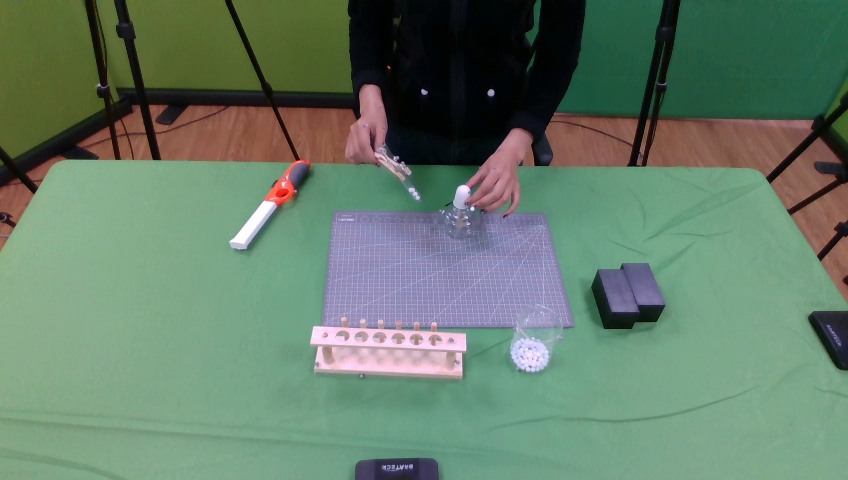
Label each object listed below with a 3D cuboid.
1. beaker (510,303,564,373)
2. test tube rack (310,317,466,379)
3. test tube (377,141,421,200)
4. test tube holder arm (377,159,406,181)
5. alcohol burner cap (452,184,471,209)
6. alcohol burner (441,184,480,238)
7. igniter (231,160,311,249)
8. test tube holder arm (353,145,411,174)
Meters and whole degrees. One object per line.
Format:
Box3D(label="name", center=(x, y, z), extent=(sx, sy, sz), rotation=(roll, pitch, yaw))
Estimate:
Box3D(label="beaker", center=(0.182, 0.164, 1.000), extent=(0.074, 0.101, 0.083), rotation=(2, 46, -1))
Box3D(label="test tube rack", center=(-0.056, 0.171, 0.987), extent=(0.242, 0.085, 0.066), rotation=(3, 45, -1))
Box3D(label="test tube", center=(-0.042, -0.120, 1.067), extent=(0.017, 0.151, 0.017), rotation=(-16, 49, 19))
Box3D(label="test tube holder arm", center=(-0.059, -0.128, 1.081), extent=(0.010, 0.015, 0.087), rotation=(-44, 41, -3))
Box3D(label="alcohol burner cap", center=(0.074, -0.087, 1.169), extent=(0.034, 0.048, 0.033), rotation=(8, 46, -8))
Box3D(label="alcohol burner", center=(0.073, -0.062, 1.195), extent=(0.078, 0.120, 0.077), rotation=(1, 47, -1))
Box3D(label="igniter", center=(-0.311, -0.081, 1.250), extent=(0.057, 0.025, 0.275), rotation=(9, 45, 18))
Box3D(label="test tube holder arm", center=(-0.080, -0.149, 1.114), extent=(0.013, 0.015, 0.177), rotation=(-49, 42, -10))
